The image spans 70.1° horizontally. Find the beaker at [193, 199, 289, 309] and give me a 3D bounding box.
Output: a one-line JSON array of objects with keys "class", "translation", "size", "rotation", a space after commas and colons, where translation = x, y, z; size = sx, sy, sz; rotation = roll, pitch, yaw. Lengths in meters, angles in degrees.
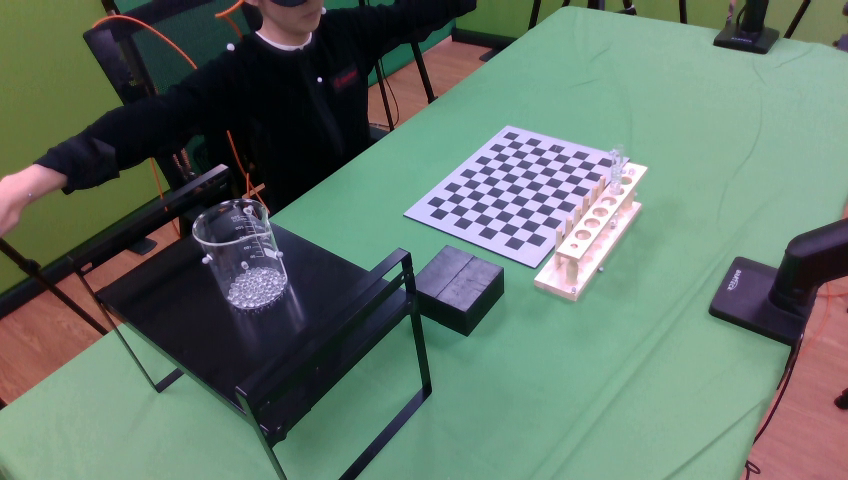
[{"class": "beaker", "translation": [-0.188, 0.018, 0.646], "size": [0.083, 0.101, 0.074], "rotation": [9, 43, 18]}]

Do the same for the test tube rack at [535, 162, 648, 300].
[{"class": "test tube rack", "translation": [0.257, -0.024, 0.916], "size": [0.066, 0.085, 0.243], "rotation": [22, 49, 30]}]

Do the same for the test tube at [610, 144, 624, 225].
[{"class": "test tube", "translation": [0.286, -0.078, 0.898], "size": [0.017, 0.151, 0.017], "rotation": [-7, 44, 7]}]
